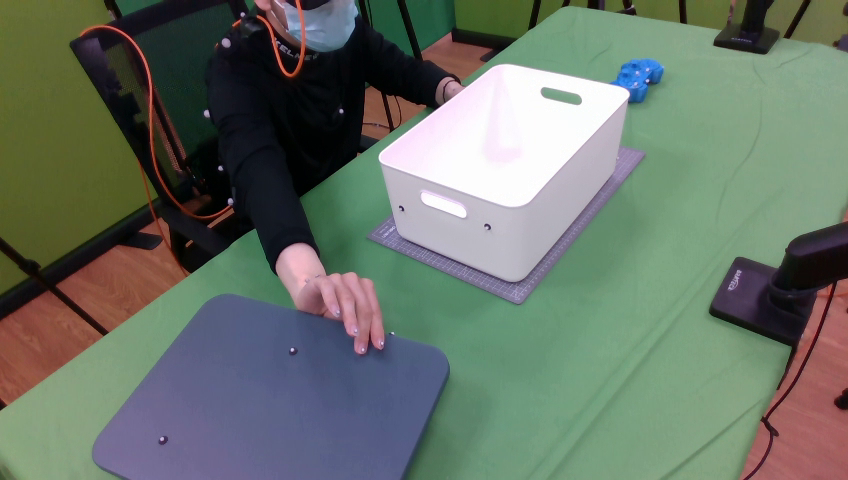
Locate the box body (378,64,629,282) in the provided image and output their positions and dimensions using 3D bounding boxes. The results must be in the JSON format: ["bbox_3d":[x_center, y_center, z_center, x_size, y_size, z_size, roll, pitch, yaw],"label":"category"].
[{"bbox_3d":[0.137,-0.121,0.978,0.252,0.161,0.365,22,48,30],"label":"box body"}]

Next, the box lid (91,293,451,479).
[{"bbox_3d":[-0.174,0.195,0.703,0.369,0.015,0.263,11,49,22],"label":"box lid"}]

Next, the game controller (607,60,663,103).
[{"bbox_3d":[0.442,-0.345,1.288,0.096,0.052,0.155,25,50,27],"label":"game controller"}]
